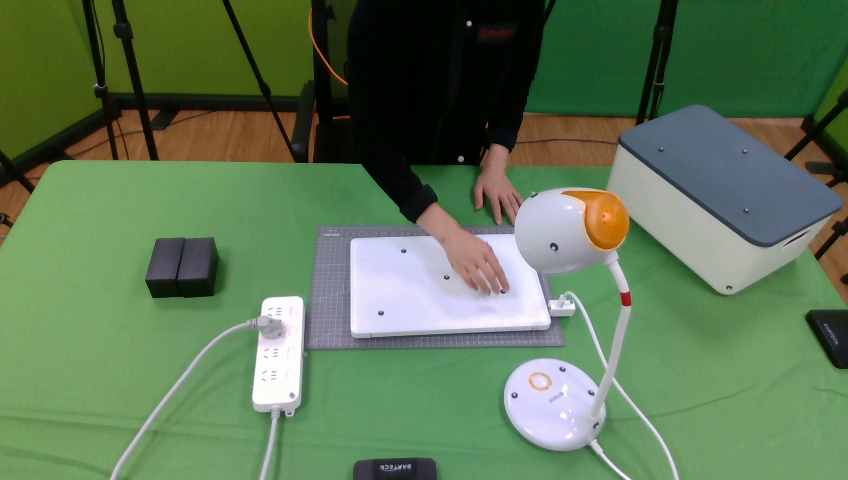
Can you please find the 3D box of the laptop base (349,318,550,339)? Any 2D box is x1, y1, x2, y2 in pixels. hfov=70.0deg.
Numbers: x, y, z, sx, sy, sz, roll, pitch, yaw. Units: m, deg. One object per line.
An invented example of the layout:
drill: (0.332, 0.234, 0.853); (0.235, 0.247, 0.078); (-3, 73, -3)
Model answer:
laptop base: (0.039, 0.081, 1.124); (0.355, 0.023, 0.234); (-2, 43, -6)

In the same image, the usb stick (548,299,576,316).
usb stick: (0.239, 0.121, 1.084); (0.059, 0.027, 0.021); (-1, 51, -1)

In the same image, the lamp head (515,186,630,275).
lamp head: (0.188, -0.013, 0.728); (0.112, 0.112, 0.122); (-25, 9, -25)

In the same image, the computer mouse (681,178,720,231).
computer mouse: (0.596, -0.078, 1.290); (0.117, 0.041, 0.062); (56, 46, -7)

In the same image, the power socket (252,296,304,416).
power socket: (-0.238, 0.181, 0.997); (0.072, 0.033, 0.225); (-3, 47, -5)

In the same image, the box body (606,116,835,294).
box body: (0.582, -0.088, 1.230); (0.254, 0.161, 0.361); (-22, 52, -23)

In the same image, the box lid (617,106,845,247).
box lid: (0.586, -0.138, 1.176); (0.263, 0.015, 0.369); (-22, 51, -23)

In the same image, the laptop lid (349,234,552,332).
laptop lid: (0.040, 0.072, 1.118); (0.357, 0.013, 0.240); (0, 44, -5)

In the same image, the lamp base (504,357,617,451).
lamp base: (0.220, 0.211, 0.903); (0.160, 0.181, 0.178); (-33, 59, -30)

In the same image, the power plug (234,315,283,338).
power plug: (-0.269, 0.143, 1.000); (0.072, 0.053, 0.035); (4, 47, 3)
